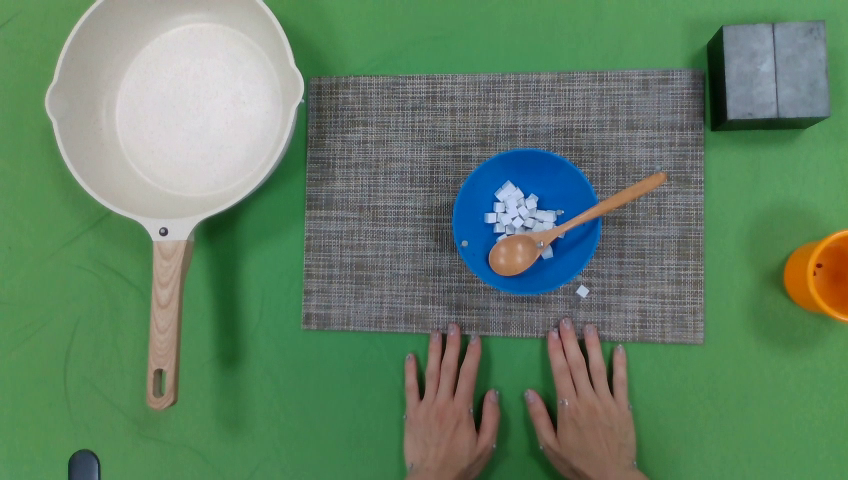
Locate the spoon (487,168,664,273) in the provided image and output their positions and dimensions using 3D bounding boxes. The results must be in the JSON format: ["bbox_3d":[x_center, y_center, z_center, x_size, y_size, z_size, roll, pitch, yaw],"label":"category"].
[{"bbox_3d":[0.150,-0.020,0.609,0.193,0.022,0.041,-30,78,23],"label":"spoon"}]

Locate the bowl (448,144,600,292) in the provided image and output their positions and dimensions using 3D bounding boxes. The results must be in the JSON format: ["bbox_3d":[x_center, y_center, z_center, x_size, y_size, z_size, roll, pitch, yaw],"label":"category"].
[{"bbox_3d":[0.106,-0.020,0.647,0.151,0.077,0.151,0,87,7],"label":"bowl"}]

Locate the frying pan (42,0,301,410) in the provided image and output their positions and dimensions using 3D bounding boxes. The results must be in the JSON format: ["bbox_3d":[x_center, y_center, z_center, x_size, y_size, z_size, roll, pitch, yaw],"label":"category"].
[{"bbox_3d":[-0.282,-0.059,0.686,0.306,0.103,0.485,-1,79,8],"label":"frying pan"}]
